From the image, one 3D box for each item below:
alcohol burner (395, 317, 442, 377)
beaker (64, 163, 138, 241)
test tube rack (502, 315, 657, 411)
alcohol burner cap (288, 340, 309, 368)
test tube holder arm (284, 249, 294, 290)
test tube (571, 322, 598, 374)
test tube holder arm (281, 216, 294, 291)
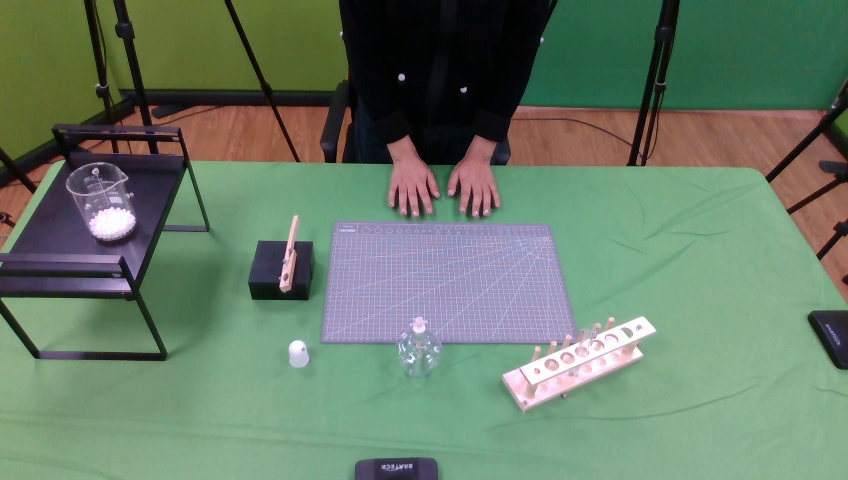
[{"bbox_3d":[-0.009,0.166,0.971,0.078,0.120,0.077,0,45,0],"label":"alcohol burner"},{"bbox_3d":[-0.477,-0.055,0.910,0.084,0.101,0.073,-9,48,-13],"label":"beaker"},{"bbox_3d":[0.253,0.186,0.988,0.242,0.085,0.066,-18,50,-20],"label":"test tube rack"},{"bbox_3d":[-0.207,0.183,0.991,0.034,0.048,0.033,3,47,-3],"label":"alcohol burner cap"},{"bbox_3d":[-0.236,0.052,1.064,0.010,0.015,0.087,-3,45,-3],"label":"test tube holder arm"},{"bbox_3d":[0.246,0.169,0.936,0.017,0.151,0.017,-1,53,1],"label":"test tube"},{"bbox_3d":[-0.246,0.020,1.095,0.013,0.015,0.177,-4,45,-4],"label":"test tube holder arm"}]
